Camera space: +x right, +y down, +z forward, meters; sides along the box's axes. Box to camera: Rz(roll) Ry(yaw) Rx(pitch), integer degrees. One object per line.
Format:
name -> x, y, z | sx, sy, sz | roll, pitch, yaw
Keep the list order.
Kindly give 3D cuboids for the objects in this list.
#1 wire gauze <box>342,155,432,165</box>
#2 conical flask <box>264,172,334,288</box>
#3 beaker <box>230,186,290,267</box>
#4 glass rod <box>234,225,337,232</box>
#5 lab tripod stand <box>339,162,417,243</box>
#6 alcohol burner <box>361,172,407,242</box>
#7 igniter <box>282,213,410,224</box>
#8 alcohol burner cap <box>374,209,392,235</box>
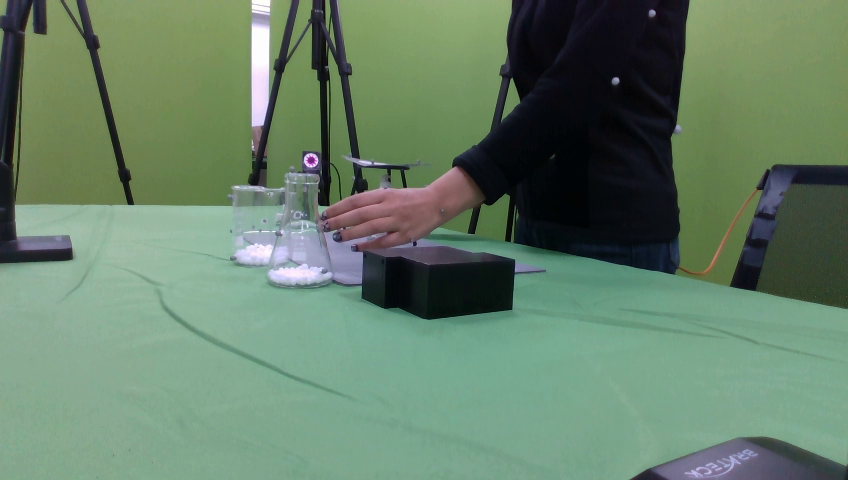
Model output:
wire gauze -> -0.065, -0.131, 1.017 | 0.122, 0.011, 0.124 | 1, 9, -27
conical flask -> -0.135, -0.013, 0.660 | 0.075, 0.122, 0.075 | 2, 7, 0
beaker -> -0.209, -0.019, 0.778 | 0.074, 0.100, 0.084 | 3, 7, 4
glass rod -> -0.256, -0.022, 1.136 | 0.201, 0.008, 0.008 | -3, 8, -33
lab tripod stand -> -0.067, -0.065, 1.027 | 0.148, 0.131, 0.148 | 4, 7, 0
alcohol burner -> -0.067, -0.056, 1.030 | 0.078, 0.119, 0.078 | 3, 9, 0
igniter -> -0.159, -0.046, 1.287 | 0.278, 0.025, 0.057 | -1, -3, -21
alcohol burner cap -> -0.078, -0.036, 1.148 | 0.034, 0.048, 0.034 | 2, 8, 0
